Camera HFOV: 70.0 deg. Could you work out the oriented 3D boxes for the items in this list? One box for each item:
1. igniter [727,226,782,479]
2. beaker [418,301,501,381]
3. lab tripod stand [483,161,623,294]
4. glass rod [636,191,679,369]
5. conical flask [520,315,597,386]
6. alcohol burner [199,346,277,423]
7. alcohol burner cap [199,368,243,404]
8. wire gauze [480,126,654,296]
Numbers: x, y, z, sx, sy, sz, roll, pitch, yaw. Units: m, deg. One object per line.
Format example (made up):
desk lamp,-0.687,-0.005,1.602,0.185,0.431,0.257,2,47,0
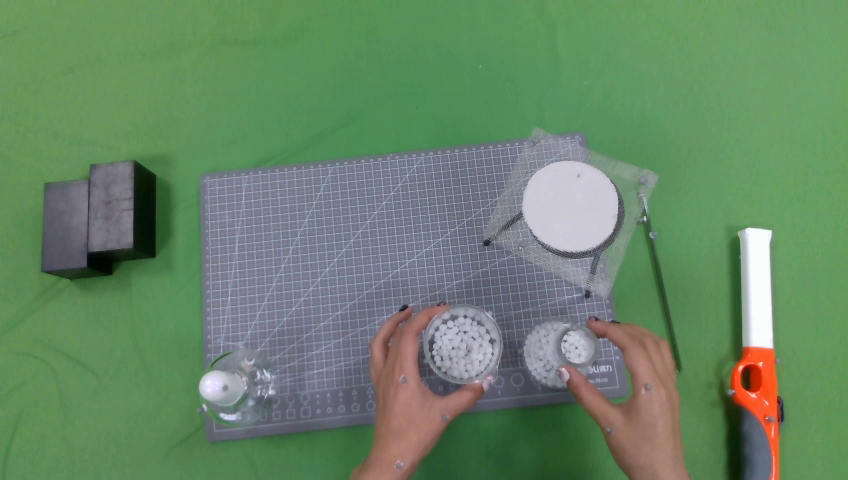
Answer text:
igniter,0.345,0.121,0.634,0.057,0.025,0.275,7,78,-7
beaker,0.038,0.106,0.608,0.074,0.100,0.083,-41,80,-6
lab tripod stand,0.135,-0.014,0.613,0.148,0.132,0.147,-1,79,3
glass rod,0.254,0.041,0.664,0.008,0.008,0.198,-7,78,0
conical flask,0.138,0.106,0.593,0.075,0.122,0.075,0,77,2
alcohol burner,-0.190,0.144,0.601,0.078,0.119,0.077,-1,79,3
alcohol burner cap,-0.191,0.134,0.566,0.034,0.048,0.033,0,71,0
wire gauze,0.130,-0.030,0.548,0.125,0.011,0.121,25,82,8
